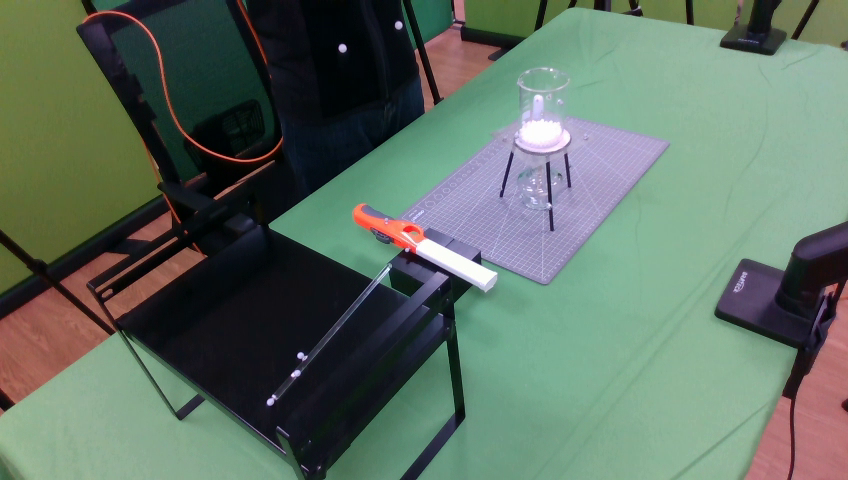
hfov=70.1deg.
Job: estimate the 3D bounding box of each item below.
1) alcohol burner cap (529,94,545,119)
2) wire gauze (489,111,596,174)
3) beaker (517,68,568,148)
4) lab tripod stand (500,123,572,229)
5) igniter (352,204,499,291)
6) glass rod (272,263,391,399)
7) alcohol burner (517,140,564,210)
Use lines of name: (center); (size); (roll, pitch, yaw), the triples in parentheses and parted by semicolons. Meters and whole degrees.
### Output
alcohol burner cap: (0.233, -0.277, 1.247); (0.034, 0.048, 0.033); (-5, 41, 5)
wire gauze: (0.183, -0.159, 0.943); (0.122, 0.011, 0.124); (-25, 47, -17)
beaker: (0.179, -0.198, 0.914); (0.073, 0.100, 0.084); (25, 49, 31)
lab tripod stand: (0.194, -0.110, 0.985); (0.148, 0.132, 0.147); (-3, 41, 3)
igniter: (-0.009, 0.005, 0.895); (0.274, 0.025, 0.057); (27, 48, 32)
glass rod: (-0.088, 0.086, 0.618); (0.008, 0.008, 0.200); (17, 45, 26)
alcohol burner: (0.193, -0.110, 1.001); (0.078, 0.119, 0.077); (-5, 38, 5)
